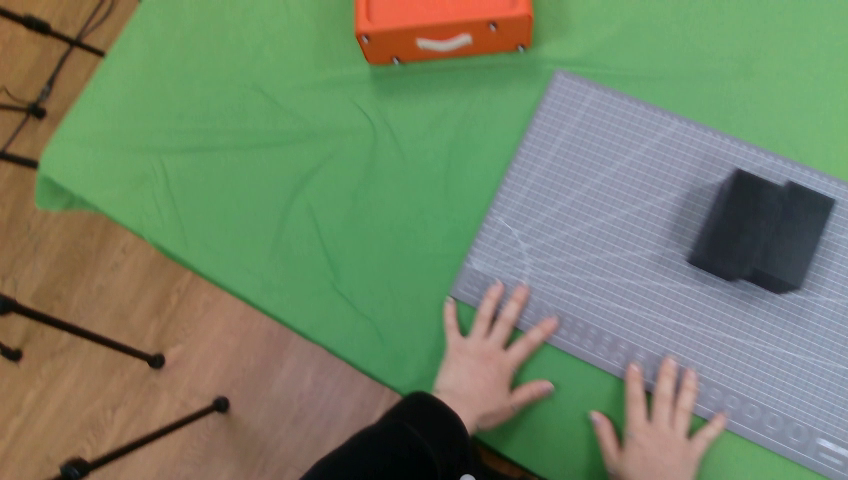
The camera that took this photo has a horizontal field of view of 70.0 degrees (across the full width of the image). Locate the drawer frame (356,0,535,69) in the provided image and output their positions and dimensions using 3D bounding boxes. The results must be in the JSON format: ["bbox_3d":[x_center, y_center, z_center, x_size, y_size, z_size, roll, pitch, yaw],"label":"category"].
[{"bbox_3d":[0.021,-0.324,0.724,0.201,0.083,0.212,-5,77,6],"label":"drawer frame"}]

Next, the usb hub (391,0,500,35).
[{"bbox_3d":[0.026,-0.279,0.730,0.125,0.025,0.049,10,80,14],"label":"usb hub"}]

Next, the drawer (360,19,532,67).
[{"bbox_3d":[0.022,-0.323,0.724,0.194,0.073,0.211,-4,78,6],"label":"drawer"}]
